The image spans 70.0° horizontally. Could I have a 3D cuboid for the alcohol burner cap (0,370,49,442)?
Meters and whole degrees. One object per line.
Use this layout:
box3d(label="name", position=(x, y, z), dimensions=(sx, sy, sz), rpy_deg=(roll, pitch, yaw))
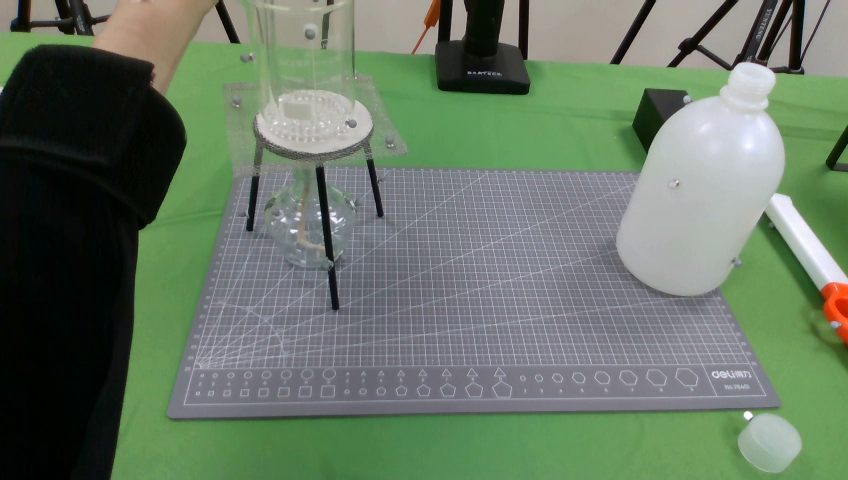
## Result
box3d(label="alcohol burner cap", position=(-0.269, 0.105, 0.393), dimensions=(0.034, 0.048, 0.033), rpy_deg=(5, 42, -4))

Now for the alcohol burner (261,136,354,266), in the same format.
box3d(label="alcohol burner", position=(-0.097, -0.036, 0.507), dimensions=(0.078, 0.120, 0.077), rpy_deg=(5, 41, -4))

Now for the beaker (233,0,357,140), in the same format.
box3d(label="beaker", position=(-0.088, -0.128, 0.425), dimensions=(0.084, 0.101, 0.073), rpy_deg=(-4, 45, -10))

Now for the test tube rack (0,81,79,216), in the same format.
box3d(label="test tube rack", position=(-0.439, -0.048, 0.506), dimensions=(0.242, 0.086, 0.066), rpy_deg=(-31, 54, -33))

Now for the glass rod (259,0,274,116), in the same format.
box3d(label="glass rod", position=(-0.104, -0.173, 0.386), dimensions=(0.008, 0.201, 0.008), rpy_deg=(5, 35, -3))

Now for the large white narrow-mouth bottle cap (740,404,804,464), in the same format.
box3d(label="large white narrow-mouth bottle cap", position=(0.248, 0.138, 0.432), dimensions=(0.038, 0.024, 0.037), rpy_deg=(3, 43, -2))

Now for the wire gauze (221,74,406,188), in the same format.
box3d(label="wire gauze", position=(-0.087, -0.090, 0.456), dimensions=(0.122, 0.011, 0.123), rpy_deg=(-10, 49, -14))

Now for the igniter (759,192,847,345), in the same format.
box3d(label="igniter", position=(0.366, 0.049, 0.535), dimensions=(0.057, 0.025, 0.273), rpy_deg=(10, 42, -12))

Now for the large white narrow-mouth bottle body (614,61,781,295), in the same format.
box3d(label="large white narrow-mouth bottle body", position=(0.230, -0.051, 0.501), dimensions=(0.102, 0.196, 0.101), rpy_deg=(3, 43, -2))

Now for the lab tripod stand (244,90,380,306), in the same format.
box3d(label="lab tripod stand", position=(-0.087, -0.041, 0.499), dimensions=(0.148, 0.132, 0.147), rpy_deg=(5, 43, -4))
